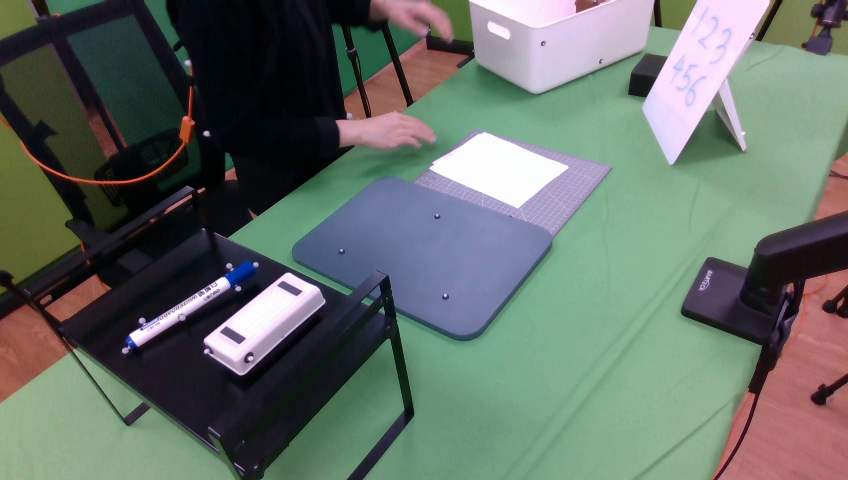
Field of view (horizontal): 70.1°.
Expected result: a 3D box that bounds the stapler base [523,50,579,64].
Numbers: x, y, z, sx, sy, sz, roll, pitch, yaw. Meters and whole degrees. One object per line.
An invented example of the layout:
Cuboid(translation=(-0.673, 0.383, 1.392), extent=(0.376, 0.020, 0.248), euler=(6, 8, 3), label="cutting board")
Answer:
Cuboid(translation=(0.301, -0.436, 1.434), extent=(0.130, 0.024, 0.041), euler=(5, 40, 17), label="stapler base")

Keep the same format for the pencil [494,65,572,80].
Cuboid(translation=(0.249, -0.390, 1.399), extent=(0.192, 0.012, 0.012), euler=(18, 46, 28), label="pencil")

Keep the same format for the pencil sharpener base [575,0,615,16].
Cuboid(translation=(0.411, -0.536, 1.469), extent=(0.061, 0.107, 0.076), euler=(-31, 45, -26), label="pencil sharpener base")

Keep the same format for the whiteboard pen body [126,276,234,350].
Cuboid(translation=(-0.251, 0.070, 0.649), extent=(0.141, 0.017, 0.017), euler=(-36, 48, -26), label="whiteboard pen body")

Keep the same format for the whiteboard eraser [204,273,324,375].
Cuboid(translation=(-0.157, 0.084, 0.605), extent=(0.055, 0.042, 0.113), euler=(24, 49, 30), label="whiteboard eraser")

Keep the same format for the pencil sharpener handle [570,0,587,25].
Cuboid(translation=(0.378, -0.568, 1.493), extent=(0.036, 0.068, 0.030), euler=(-31, 45, -26), label="pencil sharpener handle")

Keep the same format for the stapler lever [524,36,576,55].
Cuboid(translation=(0.296, -0.456, 1.418), extent=(0.117, 0.040, 0.027), euler=(4, 40, 17), label="stapler lever")

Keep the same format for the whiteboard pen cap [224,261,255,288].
Cuboid(translation=(-0.207, 0.039, 0.677), extent=(0.033, 0.018, 0.018), euler=(-36, 47, -18), label="whiteboard pen cap")

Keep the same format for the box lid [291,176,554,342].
Cuboid(translation=(-0.005, 0.011, 0.972), extent=(0.368, 0.015, 0.264), euler=(21, 49, 30), label="box lid")

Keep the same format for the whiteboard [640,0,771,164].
Cuboid(translation=(0.543, -0.299, 1.076), extent=(0.144, 0.305, 0.216), euler=(12, 40, -7), label="whiteboard")

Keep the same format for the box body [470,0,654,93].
Cuboid(translation=(0.319, -0.498, 1.405), extent=(0.365, 0.161, 0.252), euler=(-26, 43, -21), label="box body")
